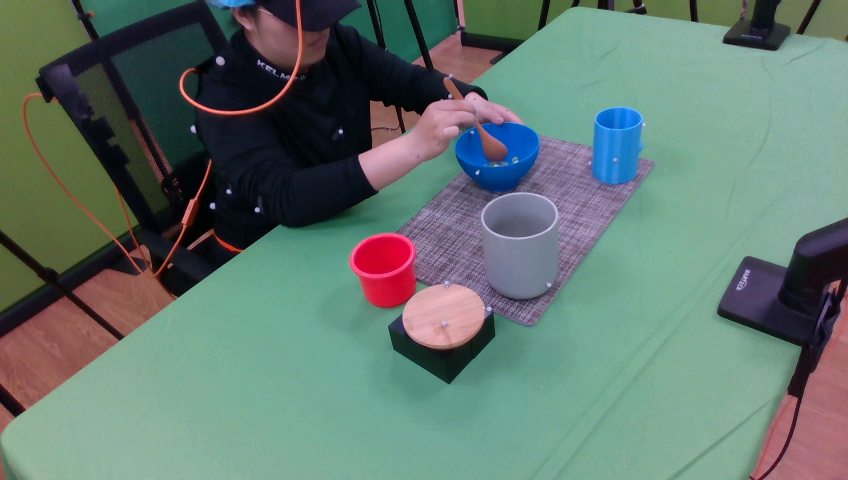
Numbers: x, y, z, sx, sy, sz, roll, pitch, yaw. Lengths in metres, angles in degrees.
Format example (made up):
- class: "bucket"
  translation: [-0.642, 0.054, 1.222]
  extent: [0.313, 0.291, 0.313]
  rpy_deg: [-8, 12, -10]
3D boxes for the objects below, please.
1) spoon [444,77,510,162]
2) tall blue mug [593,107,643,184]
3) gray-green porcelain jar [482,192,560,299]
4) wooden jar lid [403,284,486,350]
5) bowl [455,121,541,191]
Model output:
- class: "spoon"
  translation: [0.085, -0.195, 0.996]
  extent: [0.041, 0.195, 0.021]
  rpy_deg: [-26, 37, 23]
- class: "tall blue mug"
  translation: [0.330, -0.172, 1.052]
  extent: [0.078, 0.108, 0.106]
  rpy_deg: [-12, 40, 0]
- class: "gray-green porcelain jar"
  translation: [0.139, 0.012, 0.858]
  extent: [0.106, 0.127, 0.105]
  rpy_deg: [-6, 40, 5]
- class: "wooden jar lid"
  translation: [0.027, 0.101, 0.786]
  extent: [0.108, 0.021, 0.108]
  rpy_deg: [-5, 39, 4]
- class: "bowl"
  translation: [0.134, -0.141, 1.078]
  extent: [0.151, 0.077, 0.150]
  rpy_deg: [-6, 40, 5]
